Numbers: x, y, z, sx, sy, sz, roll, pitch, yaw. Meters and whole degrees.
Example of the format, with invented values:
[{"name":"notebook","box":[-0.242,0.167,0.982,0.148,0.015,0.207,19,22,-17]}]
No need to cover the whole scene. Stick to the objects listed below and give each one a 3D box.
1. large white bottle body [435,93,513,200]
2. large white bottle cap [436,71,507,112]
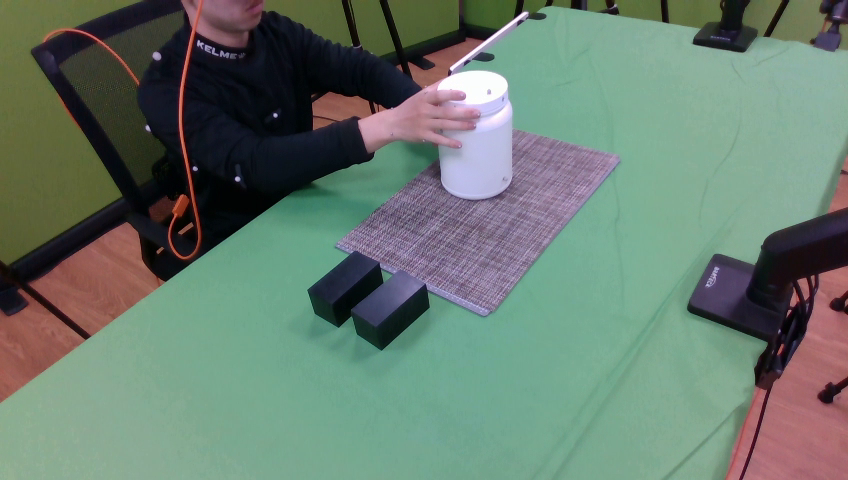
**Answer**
[{"name":"large white bottle body","box":[0.086,-0.177,1.030,0.130,0.185,0.130,-4,41,4]},{"name":"large white bottle cap","box":[0.077,-0.240,0.976,0.115,0.018,0.114,-4,41,4]}]
